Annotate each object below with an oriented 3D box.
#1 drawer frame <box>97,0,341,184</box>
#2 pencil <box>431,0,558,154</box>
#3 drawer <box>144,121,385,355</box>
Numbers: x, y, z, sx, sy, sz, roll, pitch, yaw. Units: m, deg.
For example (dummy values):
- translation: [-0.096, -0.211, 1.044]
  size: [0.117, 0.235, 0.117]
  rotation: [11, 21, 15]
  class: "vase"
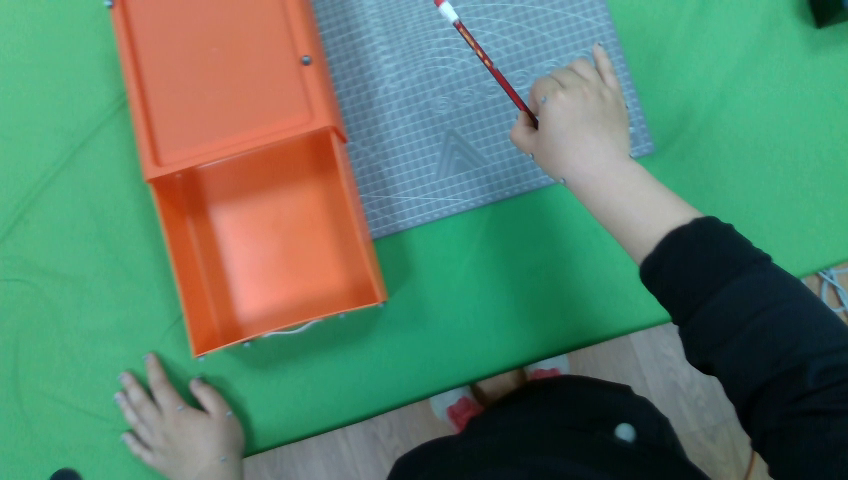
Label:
- translation: [-0.215, -0.181, 0.642]
  size: [0.201, 0.083, 0.213]
  rotation: [-17, 84, 4]
  class: "drawer frame"
- translation: [0.066, -0.157, 0.568]
  size: [0.012, 0.012, 0.194]
  rotation: [-38, 89, 1]
  class: "pencil"
- translation: [-0.164, -0.009, 0.630]
  size: [0.194, 0.073, 0.211]
  rotation: [-17, 87, 4]
  class: "drawer"
